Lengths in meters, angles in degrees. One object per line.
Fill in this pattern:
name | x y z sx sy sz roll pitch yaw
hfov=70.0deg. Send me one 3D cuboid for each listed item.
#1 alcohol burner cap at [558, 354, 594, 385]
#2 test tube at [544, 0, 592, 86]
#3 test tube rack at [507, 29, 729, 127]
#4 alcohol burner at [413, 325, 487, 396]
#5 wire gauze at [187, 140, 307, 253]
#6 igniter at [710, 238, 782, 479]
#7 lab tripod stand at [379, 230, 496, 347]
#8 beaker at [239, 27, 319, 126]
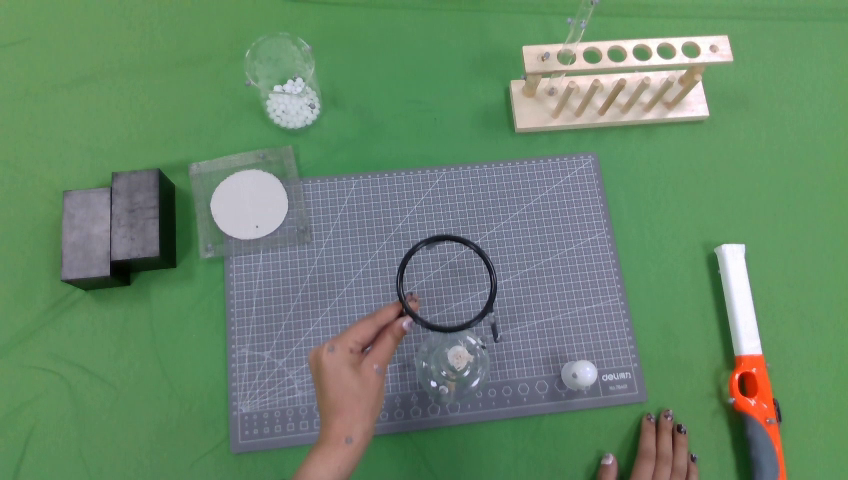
alcohol burner cap | 0.166 0.139 0.653 0.034 0.048 0.033 1 74 -2
test tube | 0.158 -0.219 0.677 0.017 0.151 0.017 1 70 -2
test tube rack | 0.229 -0.192 0.725 0.242 0.085 0.066 -5 75 -4
alcohol burner | 0.028 0.118 0.614 0.078 0.119 0.077 1 73 -4
wire gauze | -0.206 -0.051 0.699 0.125 0.011 0.120 -11 75 -5
igniter | 0.358 0.132 0.676 0.057 0.025 0.275 1 75 -13
lab tripod stand | 0.013 0.049 0.594 0.148 0.132 0.147 1 72 -2
beaker | -0.158 -0.180 0.693 0.074 0.100 0.083 -36 80 -11
